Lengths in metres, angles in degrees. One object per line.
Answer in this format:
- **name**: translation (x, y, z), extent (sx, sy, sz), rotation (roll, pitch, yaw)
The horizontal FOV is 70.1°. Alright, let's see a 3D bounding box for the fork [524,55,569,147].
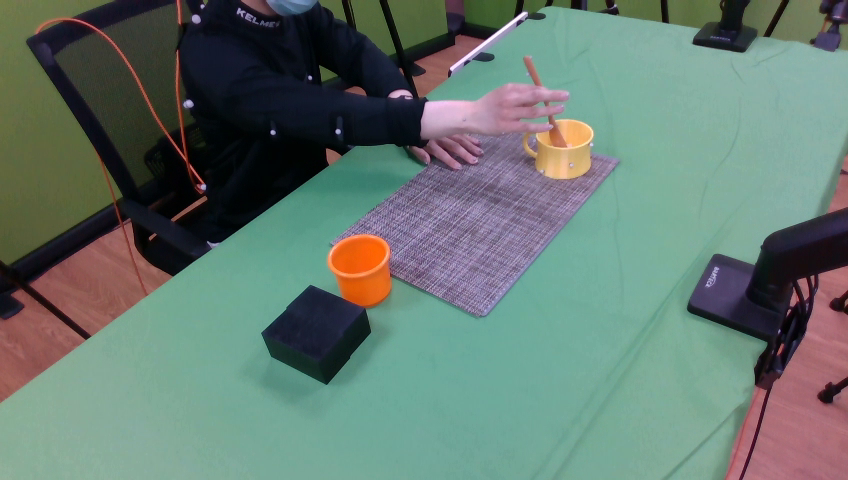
- **fork**: translation (0.213, -0.231, 1.048), extent (0.028, 0.209, 0.018), rotation (6, 47, 42)

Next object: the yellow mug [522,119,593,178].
- **yellow mug**: translation (0.237, -0.170, 1.092), extent (0.130, 0.064, 0.100), rotation (17, 46, 27)
